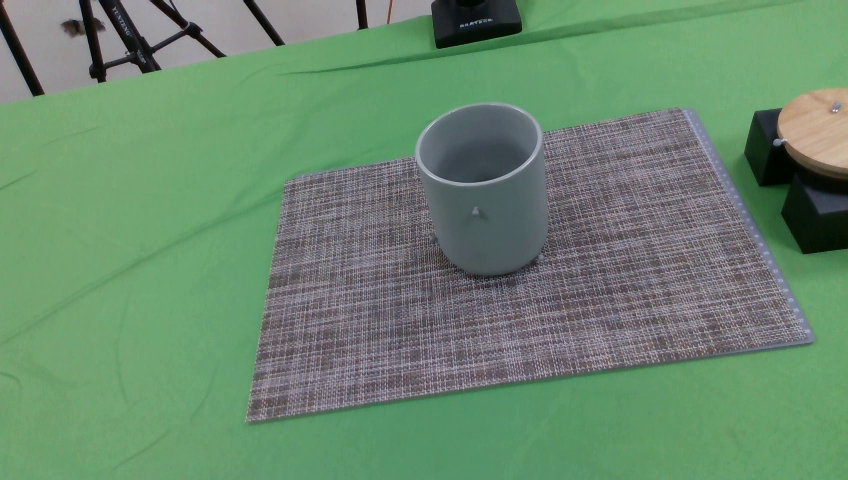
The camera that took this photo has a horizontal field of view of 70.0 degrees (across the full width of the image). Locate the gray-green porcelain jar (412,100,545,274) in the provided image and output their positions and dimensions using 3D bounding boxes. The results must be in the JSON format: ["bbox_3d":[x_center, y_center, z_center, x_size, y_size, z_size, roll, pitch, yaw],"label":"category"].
[{"bbox_3d":[0.052,-0.040,0.535,0.106,0.128,0.105,-7,48,8],"label":"gray-green porcelain jar"}]

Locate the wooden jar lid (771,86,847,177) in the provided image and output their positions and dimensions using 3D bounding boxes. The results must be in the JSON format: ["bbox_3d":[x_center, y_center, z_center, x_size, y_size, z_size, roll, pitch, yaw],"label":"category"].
[{"bbox_3d":[0.355,-0.092,0.515,0.108,0.021,0.107,-7,49,9],"label":"wooden jar lid"}]
